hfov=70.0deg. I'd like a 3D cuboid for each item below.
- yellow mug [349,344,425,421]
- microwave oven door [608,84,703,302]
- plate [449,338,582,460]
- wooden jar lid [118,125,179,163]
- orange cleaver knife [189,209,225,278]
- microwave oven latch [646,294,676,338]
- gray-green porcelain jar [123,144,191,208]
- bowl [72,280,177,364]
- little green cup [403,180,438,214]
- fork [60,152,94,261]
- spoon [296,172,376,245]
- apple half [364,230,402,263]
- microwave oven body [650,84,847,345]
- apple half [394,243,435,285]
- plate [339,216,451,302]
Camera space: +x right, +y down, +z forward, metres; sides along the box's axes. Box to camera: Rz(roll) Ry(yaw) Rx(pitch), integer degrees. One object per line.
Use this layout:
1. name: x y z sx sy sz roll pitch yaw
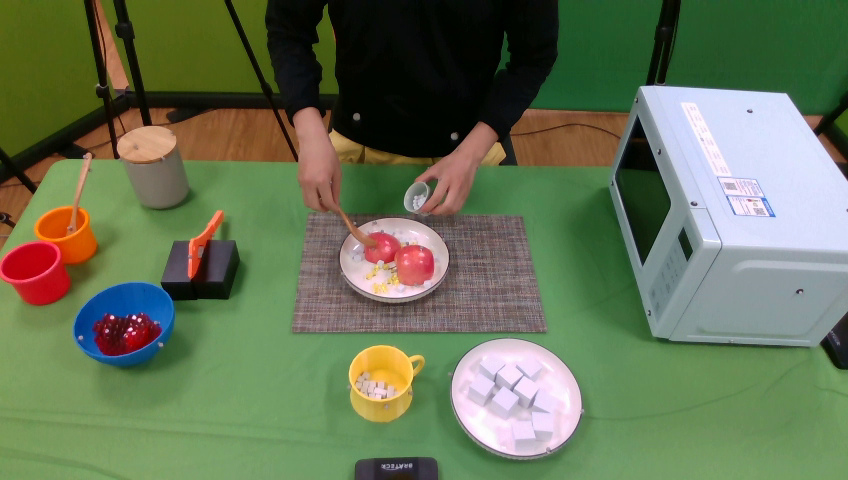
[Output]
1. yellow mug: -0.054 0.217 0.954 0.131 0.064 0.099 -24 53 -25
2. microwave oven door: 0.424 -0.096 1.138 0.039 0.245 0.353 3 46 -1
3. plate: 0.141 0.251 0.956 0.208 0.039 0.206 2 47 -2
4. wooden jar lid: -0.528 -0.181 1.167 0.108 0.021 0.107 4 48 -4
5. orange cleaver knife: -0.400 0.002 1.122 0.012 0.077 0.210 4 23 -4
6. microwave oven latch: 0.413 0.133 1.061 0.030 0.029 0.078 3 46 1
7. gray-green porcelain jar: -0.530 -0.137 1.213 0.106 0.127 0.105 2 46 -2
8. bowl: -0.472 0.147 0.982 0.151 0.077 0.150 2 46 -2
9. little green cup: -0.005 -0.079 1.147 0.061 0.039 0.061 -12 67 30
10. fork: -0.638 -0.063 1.119 0.028 0.018 0.207 12 90 9
11. spoon: -0.162 -0.058 1.115 0.194 0.021 0.041 47 17 -4
12. apple half: -0.079 0.004 1.159 0.081 0.033 0.081 2 49 -2
13. microwave oven body: 0.569 -0.054 1.116 0.326 0.261 0.439 2 46 -1
14. apple half: -0.017 0.037 1.120 0.075 0.053 0.080 1 46 -6
15. plate: -0.054 0.038 1.138 0.209 0.038 0.208 2 46 -2
